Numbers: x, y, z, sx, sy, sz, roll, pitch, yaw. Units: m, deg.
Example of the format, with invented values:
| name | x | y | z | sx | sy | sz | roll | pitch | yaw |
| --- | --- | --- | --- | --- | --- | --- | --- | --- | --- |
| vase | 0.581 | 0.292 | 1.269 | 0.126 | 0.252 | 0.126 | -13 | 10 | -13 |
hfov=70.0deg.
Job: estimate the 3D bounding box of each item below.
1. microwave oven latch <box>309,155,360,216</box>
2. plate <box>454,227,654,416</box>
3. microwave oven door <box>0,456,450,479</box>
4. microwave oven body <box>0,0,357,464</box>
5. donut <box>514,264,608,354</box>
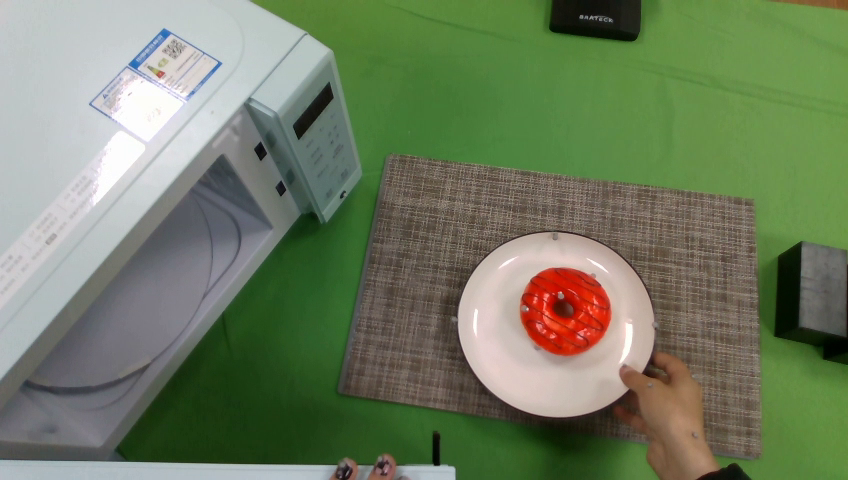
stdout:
| name | x | y | z | sx | sy | sz | roll | pitch | yaw |
| --- | --- | --- | --- | --- | --- | --- | --- | --- | --- |
| microwave oven latch | -0.107 | -0.069 | 0.713 | 0.030 | 0.029 | 0.079 | 32 | 74 | 11 |
| plate | 0.138 | 0.087 | 0.658 | 0.209 | 0.038 | 0.207 | -3 | 66 | 8 |
| microwave oven door | -0.154 | 0.201 | 0.508 | 0.356 | 0.245 | 0.039 | 0 | 69 | 0 |
| microwave oven body | -0.330 | -0.039 | 0.601 | 0.325 | 0.261 | 0.440 | 32 | 74 | 11 |
| donut | 0.147 | 0.073 | 0.650 | 0.099 | 0.048 | 0.098 | -3 | 68 | 7 |
